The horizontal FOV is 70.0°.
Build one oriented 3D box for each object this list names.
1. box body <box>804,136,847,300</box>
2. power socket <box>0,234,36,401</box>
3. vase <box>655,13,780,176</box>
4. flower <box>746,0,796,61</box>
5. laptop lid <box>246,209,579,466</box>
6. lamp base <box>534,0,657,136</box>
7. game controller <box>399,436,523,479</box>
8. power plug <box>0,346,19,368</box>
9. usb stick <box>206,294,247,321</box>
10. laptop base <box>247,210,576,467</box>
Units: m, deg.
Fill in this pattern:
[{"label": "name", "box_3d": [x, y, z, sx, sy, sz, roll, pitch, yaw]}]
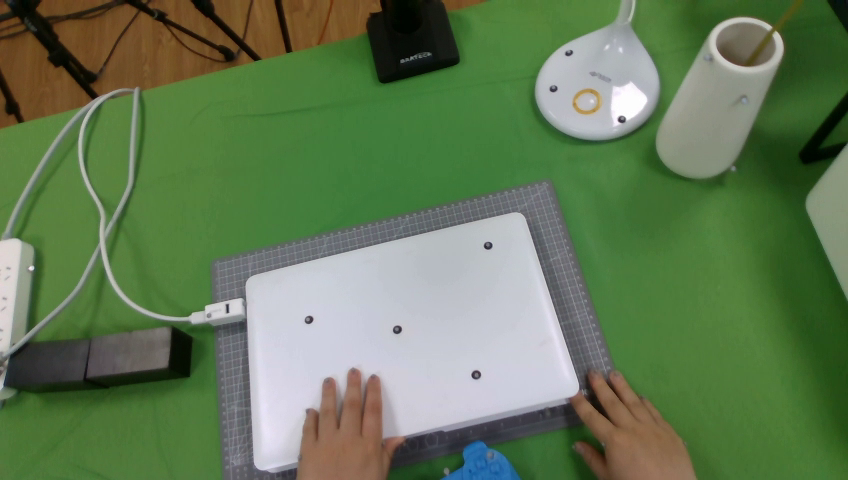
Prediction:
[{"label": "box body", "box_3d": [0.575, 0.043, 0.578, 0.254, 0.161, 0.361, -12, 66, 3]}, {"label": "power socket", "box_3d": [-0.547, 0.094, 0.774, 0.072, 0.033, 0.225, -11, 66, 2]}, {"label": "vase", "box_3d": [0.321, -0.155, 0.674, 0.098, 0.202, 0.097, -4, 65, 8]}, {"label": "flower", "box_3d": [0.330, -0.191, 0.599, 0.038, 0.364, 0.043, 1, 57, -10]}, {"label": "laptop lid", "box_3d": [-0.029, 0.099, 0.686, 0.357, 0.013, 0.239, -12, 61, 3]}, {"label": "lamp base", "box_3d": [0.221, -0.249, 0.737, 0.160, 0.182, 0.178, 18, 68, 15]}, {"label": "game controller", "box_3d": [0.029, 0.270, 0.617, 0.155, 0.052, 0.096, -27, 61, -4]}, {"label": "power plug", "box_3d": [-0.508, 0.148, 0.724, 0.072, 0.053, 0.035, 1, 66, 6]}, {"label": "usb stick", "box_3d": [-0.230, 0.080, 0.731, 0.059, 0.027, 0.021, -10, 65, -3]}, {"label": "laptop base", "box_3d": [-0.026, 0.107, 0.708, 0.354, 0.023, 0.233, -14, 69, 1]}]
